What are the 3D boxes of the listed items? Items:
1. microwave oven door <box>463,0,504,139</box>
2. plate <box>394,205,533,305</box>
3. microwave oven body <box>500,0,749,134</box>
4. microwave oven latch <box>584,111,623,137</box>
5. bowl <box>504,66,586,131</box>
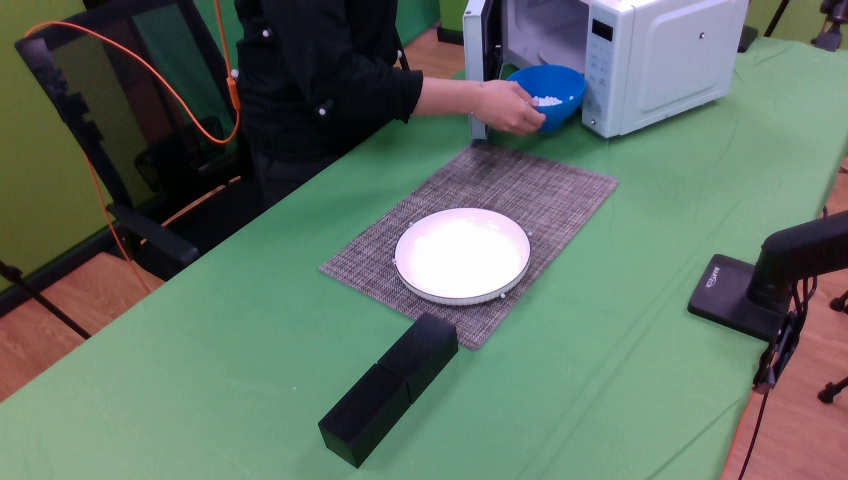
[{"bbox_3d":[0.125,-0.403,1.226,0.039,0.245,0.355,3,42,12],"label":"microwave oven door"},{"bbox_3d":[0.059,0.025,0.915,0.207,0.039,0.206,-4,41,4],"label":"plate"},{"bbox_3d":[0.382,-0.444,1.246,0.327,0.261,0.437,-22,42,-16],"label":"microwave oven body"},{"bbox_3d":[0.337,-0.222,1.142,0.030,0.029,0.078,-21,42,-14],"label":"microwave oven latch"},{"bbox_3d":[0.226,-0.258,1.140,0.151,0.077,0.150,-4,42,4],"label":"bowl"}]
